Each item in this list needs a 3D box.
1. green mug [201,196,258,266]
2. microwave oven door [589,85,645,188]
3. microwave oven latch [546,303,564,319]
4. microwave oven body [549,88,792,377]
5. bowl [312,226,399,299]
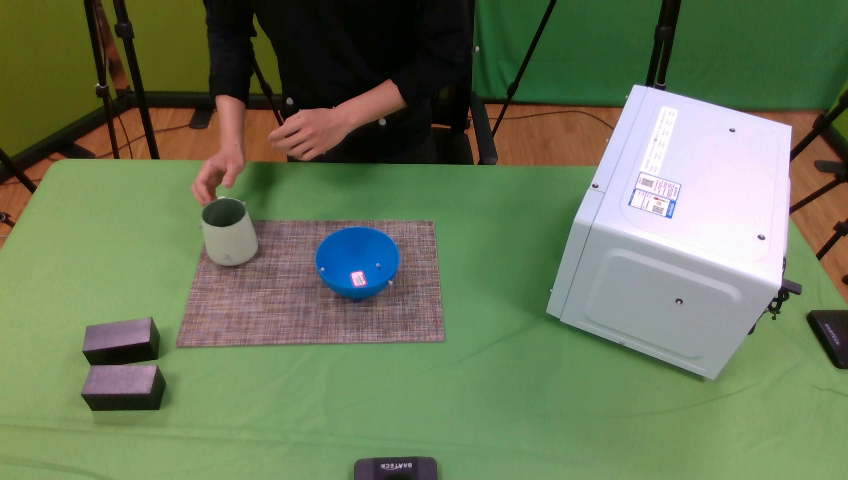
[{"bbox_3d":[-0.366,-0.025,1.130,0.092,0.105,0.124,-13,48,-16],"label":"green mug"},{"bbox_3d":[0.342,-0.107,1.148,0.039,0.245,0.354,20,48,15],"label":"microwave oven door"},{"bbox_3d":[0.242,0.102,1.081,0.030,0.029,0.079,22,48,17],"label":"microwave oven latch"},{"bbox_3d":[0.456,-0.028,1.088,0.325,0.261,0.440,20,47,16],"label":"microwave oven body"},{"bbox_3d":[-0.120,0.054,1.091,0.151,0.077,0.150,2,46,-2],"label":"bowl"}]
